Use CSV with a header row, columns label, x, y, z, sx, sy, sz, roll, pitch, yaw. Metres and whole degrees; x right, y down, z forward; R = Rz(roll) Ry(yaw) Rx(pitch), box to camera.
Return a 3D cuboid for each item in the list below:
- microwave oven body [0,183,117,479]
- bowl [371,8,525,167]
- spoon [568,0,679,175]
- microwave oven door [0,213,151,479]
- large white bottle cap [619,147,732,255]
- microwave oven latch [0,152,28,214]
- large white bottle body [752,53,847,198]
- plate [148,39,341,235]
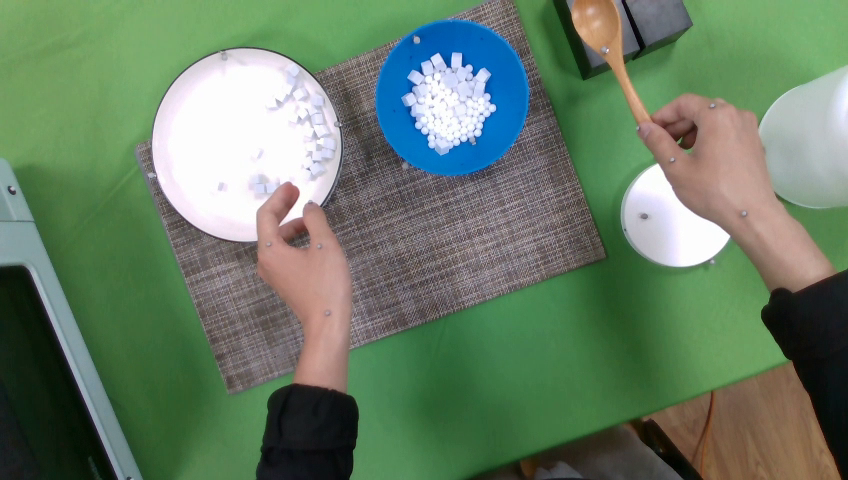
label,x,y,z,sx,sy,sz,roll,pitch,yaw
microwave oven body,-0.545,0.161,0.585,0.326,0.260,0.441,-23,91,4
bowl,0.026,-0.147,0.620,0.151,0.077,0.151,0,93,4
spoon,0.177,-0.144,0.536,0.041,0.022,0.192,-28,75,36
microwave oven door,-0.395,0.143,0.569,0.039,0.244,0.355,-23,91,5
large white bottle cap,0.267,-0.040,0.643,0.115,0.018,0.115,0,93,3
microwave oven latch,-0.470,-0.063,0.665,0.030,0.029,0.079,-22,92,4
large white bottle body,0.400,-0.107,0.547,0.130,0.184,0.130,0,92,4
plate,-0.190,-0.108,0.658,0.209,0.038,0.209,0,92,4
